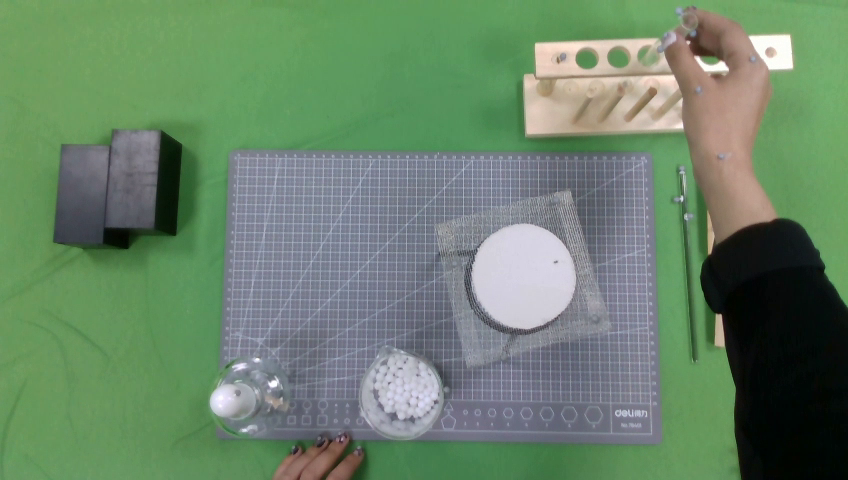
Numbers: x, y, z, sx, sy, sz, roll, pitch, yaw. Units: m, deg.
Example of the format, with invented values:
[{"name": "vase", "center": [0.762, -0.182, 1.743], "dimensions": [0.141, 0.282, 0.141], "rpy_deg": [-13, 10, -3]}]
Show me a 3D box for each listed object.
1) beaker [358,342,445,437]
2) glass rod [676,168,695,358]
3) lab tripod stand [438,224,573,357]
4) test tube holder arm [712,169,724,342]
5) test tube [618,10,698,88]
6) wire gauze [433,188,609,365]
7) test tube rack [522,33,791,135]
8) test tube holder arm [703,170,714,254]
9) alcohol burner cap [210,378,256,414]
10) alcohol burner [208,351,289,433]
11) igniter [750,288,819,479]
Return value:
[{"name": "beaker", "center": [-0.021, 0.136, 0.574], "dimensions": [0.074, 0.100, 0.083], "rpy_deg": [-21, 83, -2]}, {"name": "glass rod", "center": [0.272, 0.022, 0.631], "dimensions": [0.008, 0.008, 0.199], "rpy_deg": [-1, 83, 0]}, {"name": "lab tripod stand", "center": [0.076, 0.039, 0.566], "dimensions": [0.148, 0.132, 0.148], "rpy_deg": [0, 84, 3]}, {"name": "test tube holder arm", "center": [0.303, 0.016, 0.625], "dimensions": [0.013, 0.015, 0.178], "rpy_deg": [-3, 83, 34]}, {"name": "test tube", "center": [0.213, -0.173, 0.566], "dimensions": [0.017, 0.150, 0.017], "rpy_deg": [0, 85, -2]}, {"name": "wire gauze", "center": [0.078, 0.029, 0.500], "dimensions": [0.121, 0.011, 0.124], "rpy_deg": [-14, 83, 0]}, {"name": "test tube rack", "center": [0.227, -0.155, 0.614], "dimensions": [0.242, 0.085, 0.066], "rpy_deg": [-2, 83, 1]}, {"name": "test tube holder arm", "center": [0.299, -0.029, 0.633], "dimensions": [0.010, 0.015, 0.087], "rpy_deg": [-3, 83, 34]}, {"name": "alcohol burner cap", "center": [-0.170, 0.136, 0.532], "dimensions": [0.034, 0.048, 0.033], "rpy_deg": [0, 73, -1]}, {"name": "alcohol burner", "center": [-0.169, 0.143, 0.567], "dimensions": [0.078, 0.119, 0.077], "rpy_deg": [0, 81, 2]}, {"name": "igniter", "center": [0.356, 0.185, 0.602], "dimensions": [0.057, 0.025, 0.276], "rpy_deg": [13, 84, -7]}]
